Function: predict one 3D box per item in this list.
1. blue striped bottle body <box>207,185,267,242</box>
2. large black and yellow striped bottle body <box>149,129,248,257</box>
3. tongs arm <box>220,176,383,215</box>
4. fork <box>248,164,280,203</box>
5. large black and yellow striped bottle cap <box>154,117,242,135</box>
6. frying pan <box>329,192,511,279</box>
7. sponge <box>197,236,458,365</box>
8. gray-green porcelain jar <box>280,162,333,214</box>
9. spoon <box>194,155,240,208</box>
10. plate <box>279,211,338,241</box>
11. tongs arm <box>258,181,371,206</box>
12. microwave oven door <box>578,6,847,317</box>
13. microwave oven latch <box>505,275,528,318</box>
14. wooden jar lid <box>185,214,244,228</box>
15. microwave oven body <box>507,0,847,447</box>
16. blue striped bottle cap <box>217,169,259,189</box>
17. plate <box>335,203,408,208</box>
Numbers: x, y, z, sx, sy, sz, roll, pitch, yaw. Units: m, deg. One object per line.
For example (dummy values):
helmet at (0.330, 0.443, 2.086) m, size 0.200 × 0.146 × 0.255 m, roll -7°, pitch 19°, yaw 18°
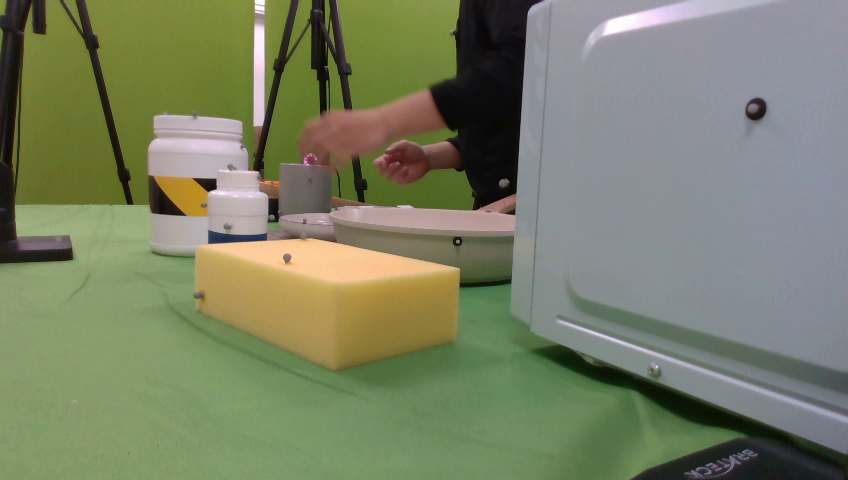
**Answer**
blue striped bottle body at (-0.204, -0.016, 0.663) m, size 0.063 × 0.120 × 0.063 m, roll 2°, pitch 7°, yaw 0°
large black and yellow striped bottle body at (-0.315, -0.075, 0.854) m, size 0.131 × 0.184 × 0.130 m, roll 2°, pitch 8°, yaw 0°
tongs arm at (-0.285, -0.104, 1.445) m, size 0.389 × 0.027 × 0.028 m, roll 9°, pitch -4°, yaw -23°
fork at (-0.398, -0.144, 1.489) m, size 0.028 × 0.018 × 0.208 m, roll 22°, pitch -23°, yaw 47°
large black and yellow striped bottle cap at (-0.314, -0.158, 0.843) m, size 0.115 × 0.019 × 0.115 m, roll 3°, pitch 7°, yaw 0°
frying pan at (0.072, -0.030, 0.883) m, size 0.305 × 0.102 × 0.490 m, roll 7°, pitch 17°, yaw 28°
sponge at (-0.087, 0.039, 0.500) m, size 0.206 × 0.061 × 0.119 m, roll 8°, pitch 9°, yaw 44°
gray-green porcelain jar at (-0.238, -0.092, 1.221) m, size 0.106 × 0.126 × 0.106 m, roll 2°, pitch 7°, yaw 0°
spoon at (-0.486, -0.134, 1.415) m, size 0.041 × 0.021 × 0.194 m, roll 7°, pitch -35°, yaw 21°
plate at (-0.139, -0.022, 1.021) m, size 0.209 × 0.038 × 0.209 m, roll 2°, pitch 8°, yaw 0°
tongs arm at (-0.241, -0.095, 1.373) m, size 0.387 × 0.026 × 0.050 m, roll 9°, pitch 0°, yaw -37°
microwave oven door at (0.294, -0.067, 0.570) m, size 0.358 × 0.243 × 0.039 m, roll -3°, pitch 9°, yaw -31°
microwave oven latch at (0.100, 0.041, 0.472) m, size 0.079 × 0.029 × 0.030 m, roll -2°, pitch 8°, yaw -31°
wooden jar lid at (-0.404, -0.037, 1.169) m, size 0.108 × 0.020 × 0.108 m, roll 3°, pitch 7°, yaw 0°
microwave oven body at (0.331, -0.042, 0.425) m, size 0.444 × 0.260 × 0.324 m, roll -2°, pitch 8°, yaw -31°
blue striped bottle cap at (-0.202, -0.067, 0.657) m, size 0.044 × 0.020 × 0.044 m, roll 0°, pitch 11°, yaw 0°
plate at (-0.089, -0.053, 1.309) m, size 0.208 × 0.039 × 0.207 m, roll 2°, pitch 8°, yaw 0°
